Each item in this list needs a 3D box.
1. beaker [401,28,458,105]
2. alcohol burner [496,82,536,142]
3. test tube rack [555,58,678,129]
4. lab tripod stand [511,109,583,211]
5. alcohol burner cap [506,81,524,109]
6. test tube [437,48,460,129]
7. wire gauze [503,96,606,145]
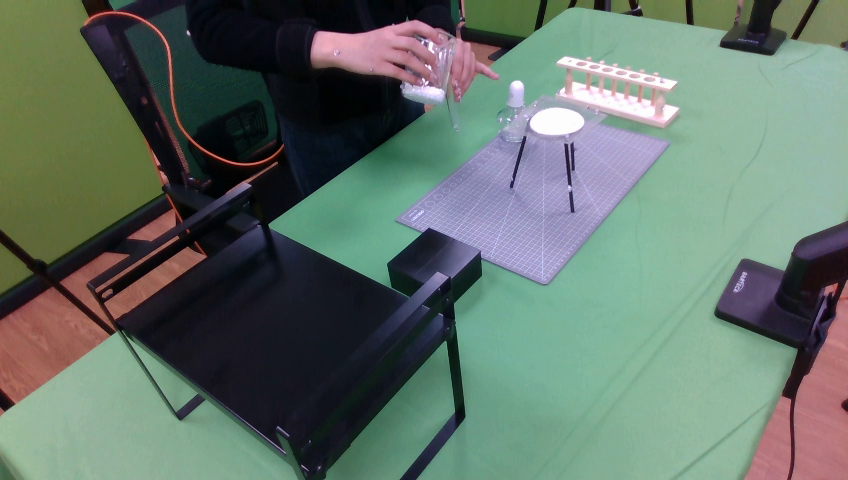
[{"bbox_3d":[0.007,-0.266,0.940,0.074,0.100,0.084,13,4,15],"label":"beaker"},{"bbox_3d":[0.178,-0.250,1.168,0.078,0.119,0.077,-5,42,5],"label":"alcohol burner"},{"bbox_3d":[0.389,-0.307,1.229,0.240,0.085,0.067,26,50,33],"label":"test tube rack"},{"bbox_3d":[0.220,-0.138,1.014,0.148,0.132,0.147,-3,41,3],"label":"lab tripod stand"},{"bbox_3d":[0.173,-0.277,1.145,0.034,0.048,0.033,1,41,-1],"label":"alcohol burner cap"},{"bbox_3d":[0.043,-0.254,1.029,0.017,0.151,0.017,-8,42,8],"label":"test tube"},{"bbox_3d":[0.211,-0.192,0.975,0.120,0.011,0.125,24,49,32],"label":"wire gauze"}]
